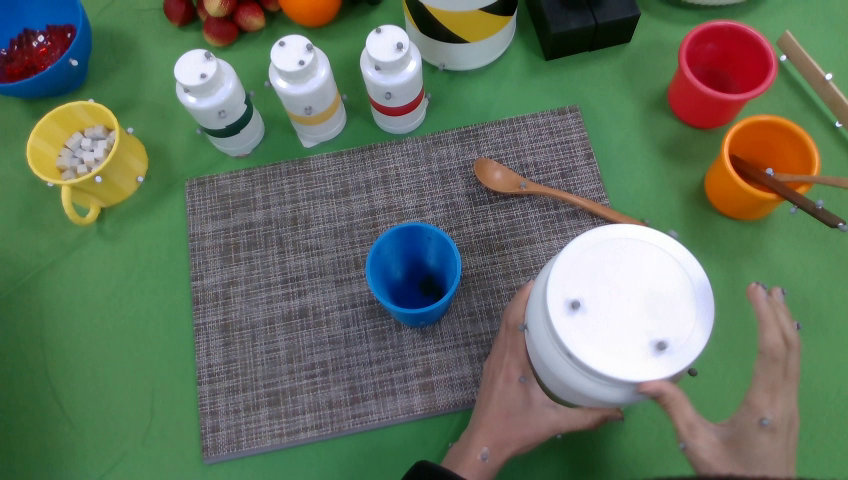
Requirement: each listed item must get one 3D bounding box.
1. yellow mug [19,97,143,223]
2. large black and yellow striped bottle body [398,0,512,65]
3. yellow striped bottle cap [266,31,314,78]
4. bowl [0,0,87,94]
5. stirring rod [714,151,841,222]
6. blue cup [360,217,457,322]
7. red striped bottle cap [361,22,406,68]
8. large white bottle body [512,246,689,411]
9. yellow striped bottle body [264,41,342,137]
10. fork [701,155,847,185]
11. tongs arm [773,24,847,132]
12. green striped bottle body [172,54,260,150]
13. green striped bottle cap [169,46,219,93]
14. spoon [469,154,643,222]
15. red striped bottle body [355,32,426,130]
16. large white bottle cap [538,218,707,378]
[{"bbox_3d":[-0.370,-0.081,0.655,0.100,0.064,0.130,-2,71,1],"label":"yellow mug"},{"bbox_3d":[0.033,-0.292,0.646,0.131,0.185,0.130,-1,70,3],"label":"large black and yellow striped bottle body"},{"bbox_3d":[-0.132,-0.183,0.595,0.044,0.019,0.044,-1,72,2],"label":"yellow striped bottle cap"},{"bbox_3d":[-0.456,-0.225,0.703,0.151,0.077,0.150,-1,71,2],"label":"bowl"},{"bbox_3d":[0.327,-0.055,0.575,0.014,0.006,0.174,-9,27,-3],"label":"stirring rod"},{"bbox_3d":[-0.012,0.037,0.574,0.092,0.101,0.092,0,69,1],"label":"blue cup"},{"bbox_3d":[-0.040,-0.192,0.593,0.044,0.018,0.044,0,69,0],"label":"red striped bottle cap"},{"bbox_3d":[0.145,0.071,0.509,0.130,0.186,0.129,-1,69,4],"label":"large white bottle body"},{"bbox_3d":[-0.129,-0.165,0.644,0.063,0.121,0.062,-1,70,4],"label":"yellow striped bottle body"},{"bbox_3d":[0.358,-0.059,0.567,0.028,0.019,0.205,-49,31,-13],"label":"fork"},{"bbox_3d":[0.498,-0.082,0.628,0.051,0.027,0.382,-23,72,-7],"label":"tongs arm"},{"bbox_3d":[-0.222,-0.150,0.644,0.063,0.120,0.063,-1,70,3],"label":"green striped bottle body"},{"bbox_3d":[-0.226,-0.167,0.594,0.044,0.020,0.044,-1,69,2],"label":"green striped bottle cap"},{"bbox_3d":[0.138,-0.050,0.639,0.193,0.022,0.041,19,47,9],"label":"spoon"},{"bbox_3d":[-0.035,-0.173,0.643,0.063,0.120,0.062,-3,69,7],"label":"red striped bottle body"},{"bbox_3d":[0.139,0.039,0.427,0.115,0.018,0.114,-1,70,3],"label":"large white bottle cap"}]
